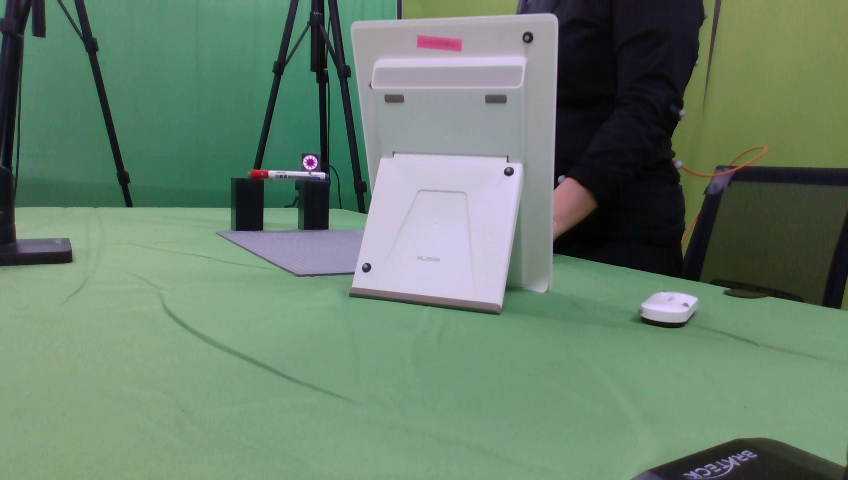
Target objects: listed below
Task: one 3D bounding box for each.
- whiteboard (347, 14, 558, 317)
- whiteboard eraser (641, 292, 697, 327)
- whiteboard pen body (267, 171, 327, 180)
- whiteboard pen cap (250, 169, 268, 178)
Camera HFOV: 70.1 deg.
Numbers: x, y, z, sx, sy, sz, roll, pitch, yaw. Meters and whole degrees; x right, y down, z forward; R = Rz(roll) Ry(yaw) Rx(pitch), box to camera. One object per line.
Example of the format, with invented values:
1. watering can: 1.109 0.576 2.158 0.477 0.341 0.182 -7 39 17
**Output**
1. whiteboard: 0.012 -0.056 0.609 0.216 0.305 0.144 5 27 20
2. whiteboard eraser: 0.240 0.066 0.590 0.041 0.019 0.102 6 7 31
3. whiteboard pen body: -0.260 -0.126 1.181 0.141 0.017 0.017 -2 8 -26
4. whiteboard pen cap: -0.315 -0.127 1.155 0.032 0.017 0.017 0 7 -24
